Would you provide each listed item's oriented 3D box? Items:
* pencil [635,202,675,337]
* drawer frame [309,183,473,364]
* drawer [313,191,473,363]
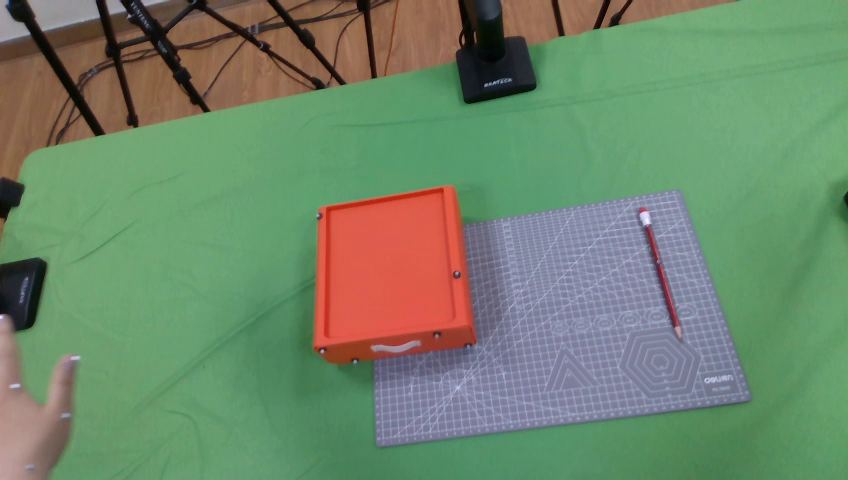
[{"bbox_3d":[0.303,0.035,0.793,0.012,0.012,0.192,-9,63,7],"label":"pencil"},{"bbox_3d":[-0.047,0.046,0.815,0.201,0.083,0.211,-10,60,7],"label":"drawer frame"},{"bbox_3d":[-0.045,0.048,0.815,0.194,0.074,0.209,-10,59,8],"label":"drawer"}]
